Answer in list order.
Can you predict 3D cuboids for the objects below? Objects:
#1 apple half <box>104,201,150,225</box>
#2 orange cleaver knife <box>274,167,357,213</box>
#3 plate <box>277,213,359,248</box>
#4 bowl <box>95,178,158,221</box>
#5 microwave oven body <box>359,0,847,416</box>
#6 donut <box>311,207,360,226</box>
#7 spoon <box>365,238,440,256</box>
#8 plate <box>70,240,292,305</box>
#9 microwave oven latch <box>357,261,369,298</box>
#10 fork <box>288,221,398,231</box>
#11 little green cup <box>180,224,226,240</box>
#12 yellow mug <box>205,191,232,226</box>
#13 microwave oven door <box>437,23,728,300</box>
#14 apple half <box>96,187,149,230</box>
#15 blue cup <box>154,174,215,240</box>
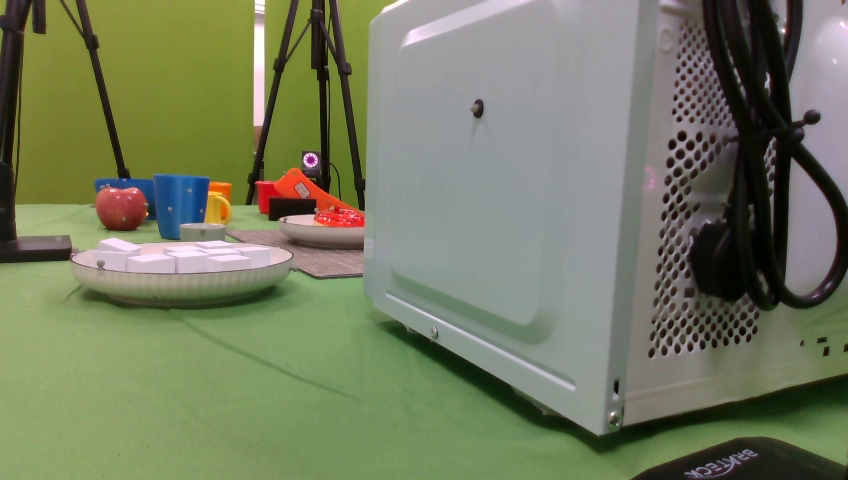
[{"bbox_3d":[-0.548,-0.044,1.115,0.081,0.033,0.081,18,6,-2],"label":"apple half"},{"bbox_3d":[-0.238,-0.091,1.381,0.212,0.077,0.012,31,2,-19],"label":"orange cleaver knife"},{"bbox_3d":[-0.135,-0.017,0.993,0.209,0.038,0.209,3,8,0],"label":"plate"},{"bbox_3d":[-0.576,-0.081,1.217,0.151,0.077,0.151,3,8,0],"label":"bowl"},{"bbox_3d":[0.211,-0.047,0.474,0.444,0.260,0.324,-1,7,-28],"label":"microwave oven body"},{"bbox_3d":[-0.137,-0.029,0.995,0.099,0.048,0.099,4,9,0],"label":"donut"},{"bbox_3d":[-0.023,0.006,0.907,0.041,0.021,0.194,-16,-2,30],"label":"spoon"},{"bbox_3d":[-0.242,0.031,0.618,0.208,0.039,0.207,2,8,0],"label":"plate"},{"bbox_3d":[-0.019,0.033,0.530,0.079,0.029,0.030,-1,7,-26],"label":"microwave oven latch"},{"bbox_3d":[-0.148,-0.025,1.120,0.208,0.018,0.028,-3,0,-22],"label":"fork"},{"bbox_3d":[-0.309,-0.001,0.846,0.061,0.038,0.061,2,8,0],"label":"little green cup"},{"bbox_3d":[-0.415,-0.057,1.131,0.130,0.064,0.100,6,8,16],"label":"yellow mug"},{"bbox_3d":[0.181,-0.072,0.621,0.358,0.243,0.039,-2,8,-29],"label":"microwave oven door"},{"bbox_3d":[-0.516,-0.052,1.036,0.081,0.074,0.053,3,11,-26],"label":"apple half"},{"bbox_3d":[-0.391,-0.053,0.978,0.093,0.100,0.092,4,6,0],"label":"blue cup"}]
